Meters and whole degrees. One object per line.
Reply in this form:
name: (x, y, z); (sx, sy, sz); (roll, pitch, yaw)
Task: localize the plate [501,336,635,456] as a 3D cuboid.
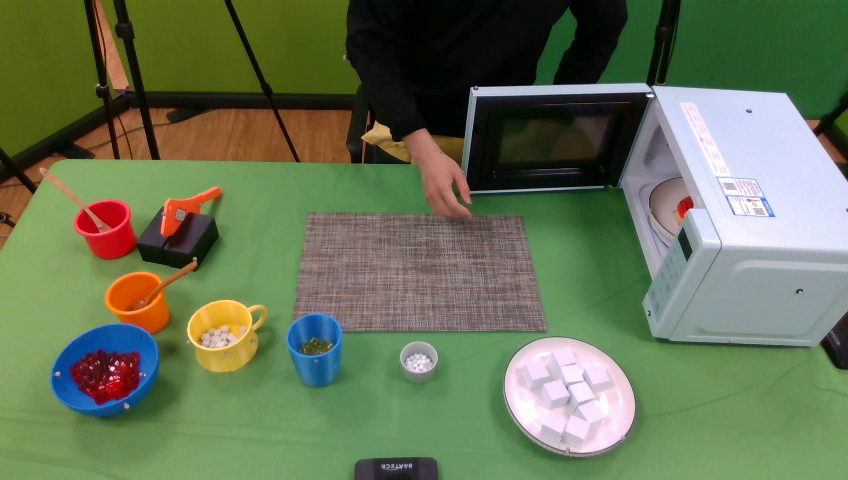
plate: (0.225, 0.248, 0.963); (0.208, 0.039, 0.206); (2, 46, -2)

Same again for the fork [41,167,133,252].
fork: (-0.624, -0.056, 1.121); (0.208, 0.018, 0.028); (49, 52, -15)

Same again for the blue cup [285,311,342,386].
blue cup: (-0.170, 0.179, 0.958); (0.093, 0.101, 0.092); (1, 44, -1)

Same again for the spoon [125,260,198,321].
spoon: (-0.435, 0.083, 1.000); (0.022, 0.194, 0.041); (35, 34, -34)

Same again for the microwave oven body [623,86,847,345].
microwave oven body: (0.567, -0.053, 1.118); (0.326, 0.261, 0.439); (2, 45, -1)

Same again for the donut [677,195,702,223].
donut: (0.539, -0.048, 1.170); (0.099, 0.048, 0.098); (3, 45, -3)

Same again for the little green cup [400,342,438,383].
little green cup: (-0.010, 0.202, 0.991); (0.061, 0.039, 0.061); (2, 47, -2)

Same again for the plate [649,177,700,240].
plate: (0.542, -0.044, 1.180); (0.209, 0.038, 0.208); (2, 46, -2)

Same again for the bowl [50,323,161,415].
bowl: (-0.472, 0.209, 0.924); (0.151, 0.077, 0.150); (2, 45, -2)

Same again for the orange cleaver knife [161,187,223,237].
orange cleaver knife: (-0.448, -0.058, 1.181); (0.012, 0.077, 0.211); (13, 17, 6)

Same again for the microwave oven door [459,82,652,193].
microwave oven door: (0.259, -0.206, 1.238); (0.356, 0.245, 0.039); (-3, 46, -7)

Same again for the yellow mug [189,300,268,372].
yellow mug: (-0.316, 0.149, 1.001); (0.131, 0.064, 0.099); (-32, 55, -31)

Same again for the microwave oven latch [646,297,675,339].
microwave oven latch: (0.412, 0.134, 1.061); (0.030, 0.029, 0.078); (4, 45, 1)
